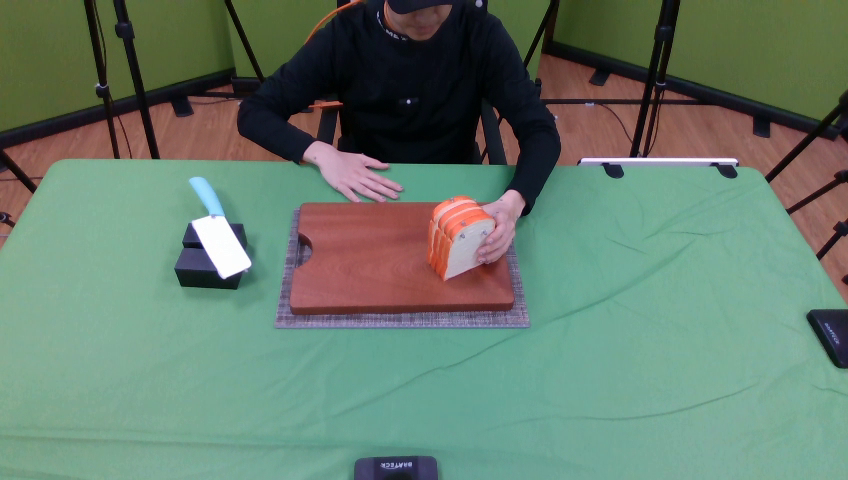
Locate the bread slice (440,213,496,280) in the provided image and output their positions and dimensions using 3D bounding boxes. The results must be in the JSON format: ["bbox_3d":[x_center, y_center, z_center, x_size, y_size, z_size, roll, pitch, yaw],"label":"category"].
[{"bbox_3d":[0.079,0.009,1.076,0.107,0.135,0.018,-25,55,-21],"label":"bread slice"}]

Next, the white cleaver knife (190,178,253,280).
[{"bbox_3d":[-0.396,-0.030,1.137,0.066,0.021,0.284,-21,49,-23],"label":"white cleaver knife"}]

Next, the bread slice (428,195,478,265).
[{"bbox_3d":[0.053,-0.023,1.106,0.105,0.132,0.019,-21,45,-25],"label":"bread slice"}]
